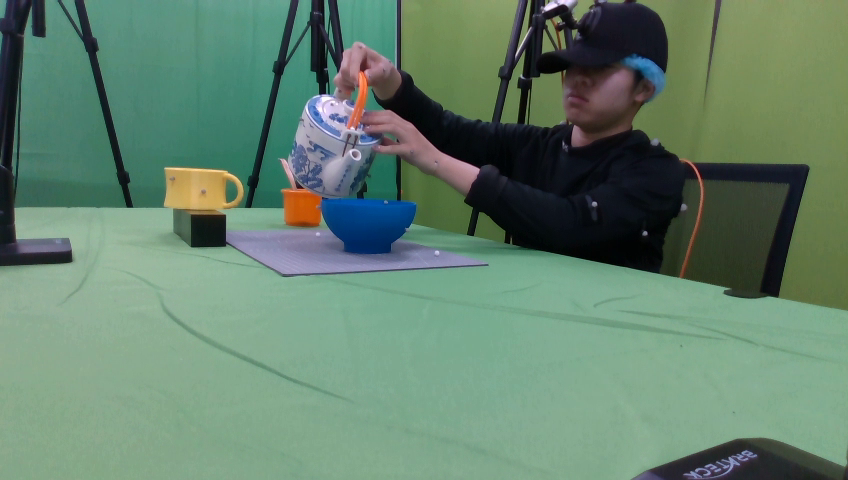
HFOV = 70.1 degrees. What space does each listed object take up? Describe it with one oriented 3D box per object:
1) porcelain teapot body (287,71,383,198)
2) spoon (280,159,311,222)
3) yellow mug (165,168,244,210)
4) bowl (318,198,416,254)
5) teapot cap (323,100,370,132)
[{"bbox_3d":[-0.142,-0.171,1.057,0.146,0.225,0.204,8,43,-26],"label":"porcelain teapot body"},{"bbox_3d":[-0.285,-0.111,1.320,0.042,0.193,0.021,-2,-36,-31],"label":"spoon"},{"bbox_3d":[-0.370,-0.086,1.027,0.131,0.064,0.100,5,7,4],"label":"yellow mug"},{"bbox_3d":[-0.089,-0.022,0.941,0.151,0.077,0.151,2,8,0],"label":"bowl"},{"bbox_3d":[-0.132,-0.217,1.050,0.085,0.043,0.085,20,39,-17],"label":"teapot cap"}]
